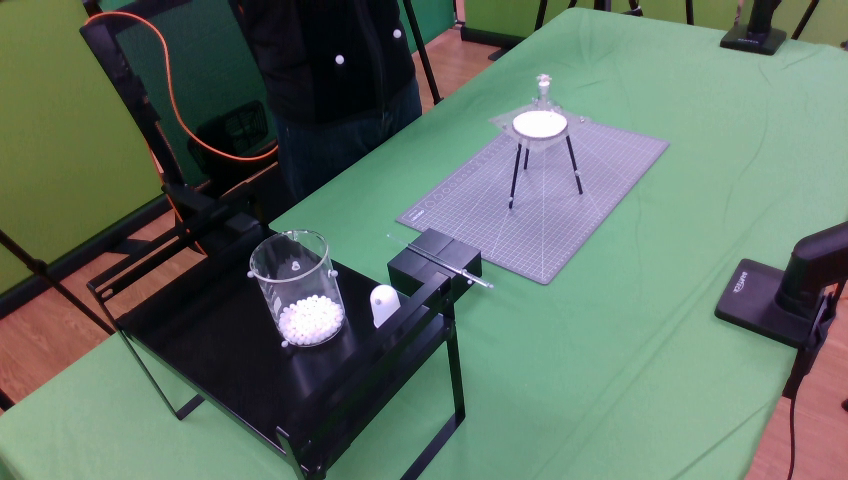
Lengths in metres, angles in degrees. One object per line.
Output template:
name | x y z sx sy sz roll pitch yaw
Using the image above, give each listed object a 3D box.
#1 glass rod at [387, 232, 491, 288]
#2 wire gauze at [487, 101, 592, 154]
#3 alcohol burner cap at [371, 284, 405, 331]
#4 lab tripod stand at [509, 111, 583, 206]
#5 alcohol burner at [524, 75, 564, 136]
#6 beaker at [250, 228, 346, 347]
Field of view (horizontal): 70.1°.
glass rod | 0.017 0.027 0.877 0.198 0.008 0.008 26 51 34
wire gauze | 0.185 -0.188 0.974 0.122 0.011 0.124 -27 44 -23
alcohol burner cap | -0.037 0.065 0.608 0.034 0.048 0.033 -4 42 4
lab tripod stand | 0.197 -0.139 1.020 0.148 0.132 0.147 -3 39 3
alcohol burner | 0.232 -0.263 1.175 0.078 0.119 0.077 -6 39 5
beaker | -0.120 0.048 0.598 0.074 0.101 0.083 -9 40 -1
